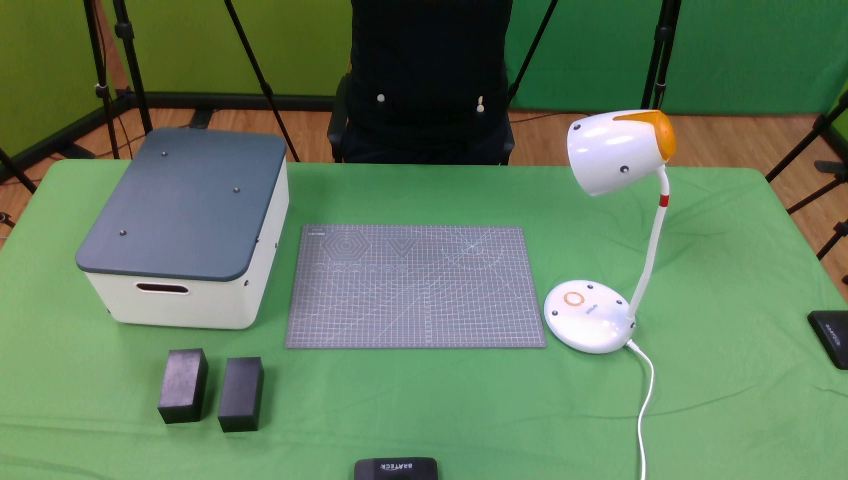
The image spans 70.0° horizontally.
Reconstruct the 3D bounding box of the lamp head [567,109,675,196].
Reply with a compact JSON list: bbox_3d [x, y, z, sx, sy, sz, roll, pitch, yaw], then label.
[{"bbox_3d":[0.272,-0.123,0.818,0.122,0.113,0.112,-9,35,37],"label":"lamp head"}]

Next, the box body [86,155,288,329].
[{"bbox_3d":[-0.401,-0.025,1.094,0.254,0.161,0.362,3,46,-1],"label":"box body"}]

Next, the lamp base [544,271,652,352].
[{"bbox_3d":[0.309,0.086,1.029,0.178,0.181,0.160,32,52,21],"label":"lamp base"}]

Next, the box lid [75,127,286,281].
[{"bbox_3d":[-0.398,-0.075,1.039,0.263,0.015,0.369,4,45,-1],"label":"box lid"}]

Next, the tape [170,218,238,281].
[{"bbox_3d":[-0.406,0.017,1.121,0.117,0.053,0.116,2,46,-2],"label":"tape"}]
